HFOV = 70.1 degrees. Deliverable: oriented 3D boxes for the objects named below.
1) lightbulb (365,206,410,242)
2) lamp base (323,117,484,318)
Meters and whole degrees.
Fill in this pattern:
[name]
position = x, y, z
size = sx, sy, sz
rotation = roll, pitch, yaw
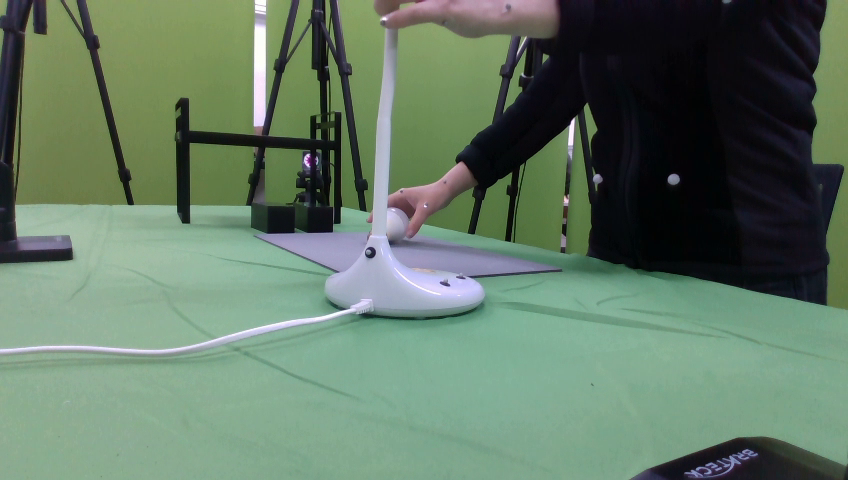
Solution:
[lightbulb]
position = -0.064, -0.018, 0.998
size = 0.059, 0.059, 0.108
rotation = 6, 24, 24
[lamp base]
position = -0.021, -0.025, 0.582
size = 0.160, 0.180, 0.179
rotation = 4, 10, 16
